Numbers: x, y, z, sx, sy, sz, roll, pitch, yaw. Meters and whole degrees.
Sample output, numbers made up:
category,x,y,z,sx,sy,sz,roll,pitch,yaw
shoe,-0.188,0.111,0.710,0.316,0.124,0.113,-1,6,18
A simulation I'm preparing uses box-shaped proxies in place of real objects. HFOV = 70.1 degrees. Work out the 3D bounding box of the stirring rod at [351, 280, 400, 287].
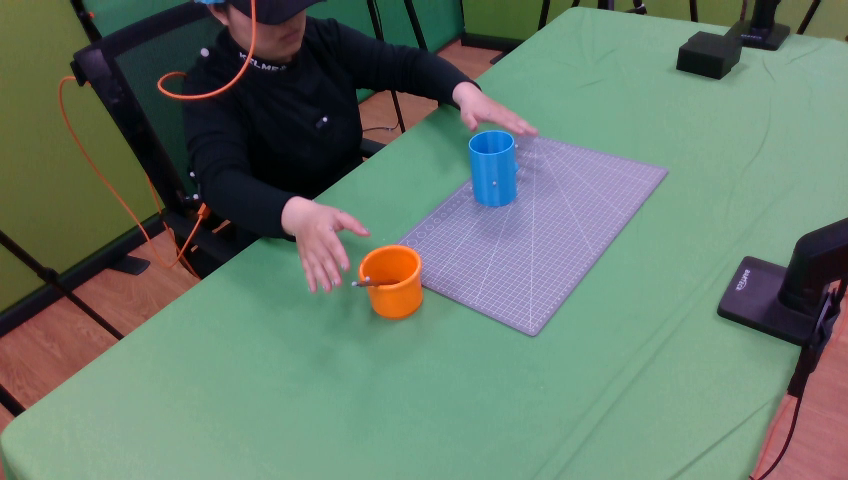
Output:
category,x,y,z,sx,sy,sz,roll,pitch,yaw
stirring rod,-0.064,0.059,0.833,0.014,0.006,0.177,10,0,14

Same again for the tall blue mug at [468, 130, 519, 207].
category,x,y,z,sx,sy,sz,roll,pitch,yaw
tall blue mug,0.114,-0.131,1.045,0.078,0.108,0.106,-20,41,-11
